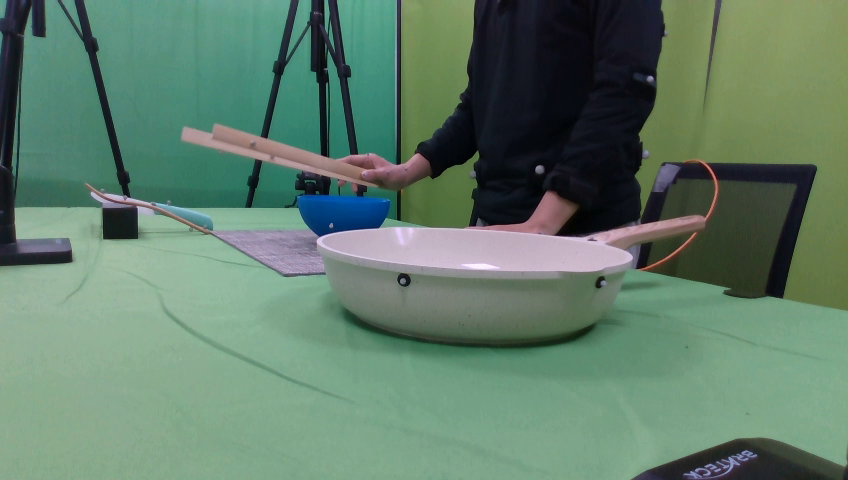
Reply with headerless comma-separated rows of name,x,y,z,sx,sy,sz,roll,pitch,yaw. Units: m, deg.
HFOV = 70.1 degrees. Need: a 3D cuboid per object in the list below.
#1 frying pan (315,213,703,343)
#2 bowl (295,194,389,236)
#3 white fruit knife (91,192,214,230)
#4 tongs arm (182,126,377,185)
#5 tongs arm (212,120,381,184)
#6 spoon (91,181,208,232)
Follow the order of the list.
frying pan,0.133,0.013,0.629,0.490,0.102,0.305,-11,14,-29
bowl,-0.132,-0.032,0.980,0.151,0.077,0.151,2,7,0
white fruit knife,-0.477,-0.055,1.077,0.208,0.027,0.016,15,-5,-30
tongs arm,-0.261,-0.158,1.165,0.387,0.026,0.050,11,-5,-37
tongs arm,-0.210,-0.153,1.107,0.028,0.027,0.390,0,-8,40
spoon,-0.461,-0.053,1.023,0.195,0.021,0.041,21,23,-24
